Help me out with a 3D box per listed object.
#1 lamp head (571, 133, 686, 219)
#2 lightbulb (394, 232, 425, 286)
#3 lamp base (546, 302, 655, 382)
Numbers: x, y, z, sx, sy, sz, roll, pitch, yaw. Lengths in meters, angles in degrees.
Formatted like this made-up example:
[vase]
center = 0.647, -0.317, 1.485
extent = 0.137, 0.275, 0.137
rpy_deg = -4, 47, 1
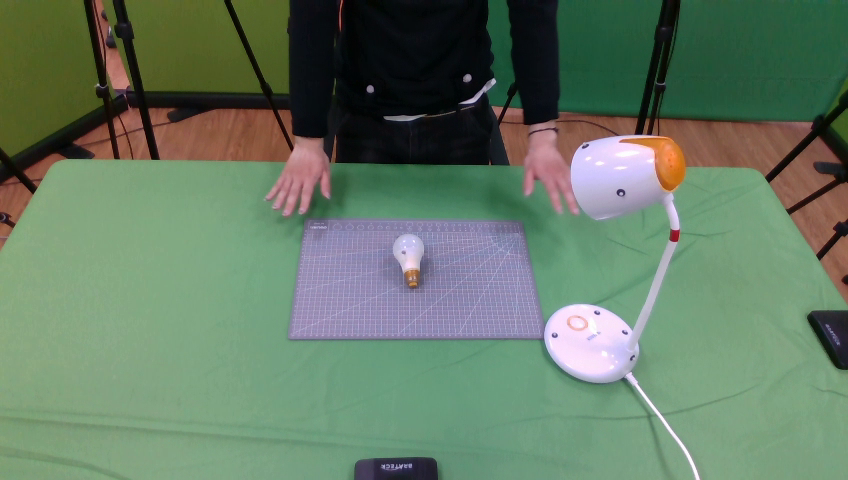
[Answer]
[lamp head]
center = 0.271, -0.085, 0.780
extent = 0.112, 0.113, 0.122
rpy_deg = -40, 22, -33
[lightbulb]
center = -0.025, 0.036, 1.134
extent = 0.059, 0.060, 0.107
rpy_deg = -4, 62, -7
[lamp base]
center = 0.303, 0.127, 0.982
extent = 0.160, 0.181, 0.178
rpy_deg = -34, 59, -29
